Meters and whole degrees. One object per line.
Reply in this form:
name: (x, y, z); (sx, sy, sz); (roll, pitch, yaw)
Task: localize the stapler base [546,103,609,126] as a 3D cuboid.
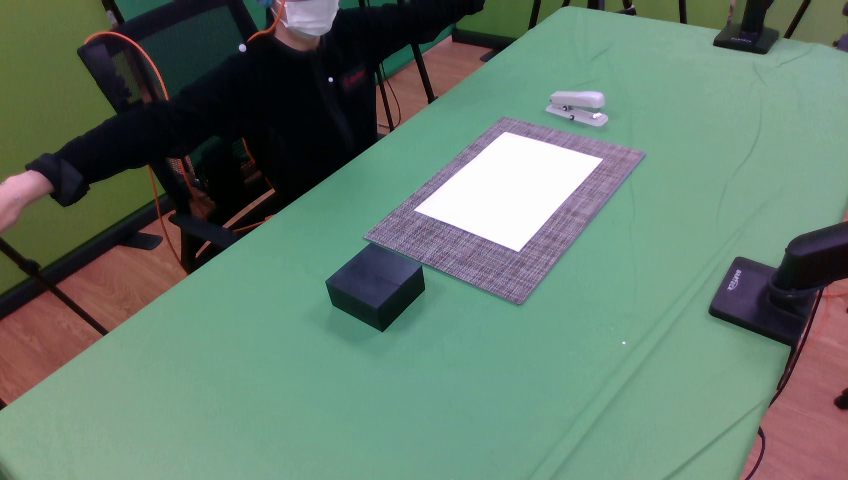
stapler base: (0.313, -0.266, 1.235); (0.129, 0.024, 0.041); (26, 48, 35)

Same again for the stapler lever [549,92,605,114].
stapler lever: (0.309, -0.285, 1.220); (0.117, 0.040, 0.027); (26, 49, 36)
